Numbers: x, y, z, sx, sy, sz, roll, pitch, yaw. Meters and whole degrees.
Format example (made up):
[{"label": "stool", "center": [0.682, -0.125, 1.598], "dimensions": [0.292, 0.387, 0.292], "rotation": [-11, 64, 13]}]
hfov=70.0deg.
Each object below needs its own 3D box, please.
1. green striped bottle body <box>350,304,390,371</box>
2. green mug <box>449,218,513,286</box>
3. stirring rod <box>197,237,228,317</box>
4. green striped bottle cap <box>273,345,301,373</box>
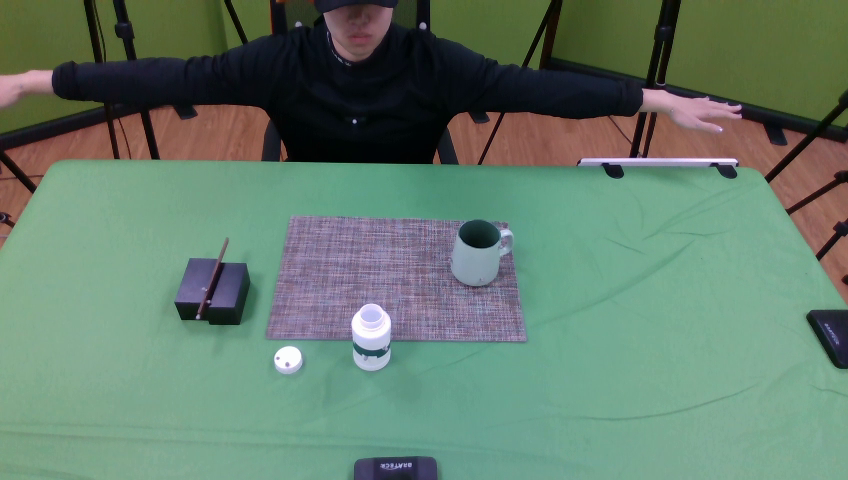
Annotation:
[{"label": "green striped bottle body", "center": [-0.086, 0.154, 0.976], "dimensions": [0.063, 0.120, 0.063], "rotation": [2, 46, -2]}, {"label": "green mug", "center": [0.110, 0.018, 1.126], "dimensions": [0.125, 0.105, 0.092], "rotation": [-19, 50, -21]}, {"label": "stirring rod", "center": [-0.363, 0.060, 1.047], "dimensions": [0.006, 0.014, 0.175], "rotation": [7, 46, -4]}, {"label": "green striped bottle cap", "center": [-0.225, 0.195, 0.997], "dimensions": [0.044, 0.020, 0.044], "rotation": [1, 50, -1]}]
